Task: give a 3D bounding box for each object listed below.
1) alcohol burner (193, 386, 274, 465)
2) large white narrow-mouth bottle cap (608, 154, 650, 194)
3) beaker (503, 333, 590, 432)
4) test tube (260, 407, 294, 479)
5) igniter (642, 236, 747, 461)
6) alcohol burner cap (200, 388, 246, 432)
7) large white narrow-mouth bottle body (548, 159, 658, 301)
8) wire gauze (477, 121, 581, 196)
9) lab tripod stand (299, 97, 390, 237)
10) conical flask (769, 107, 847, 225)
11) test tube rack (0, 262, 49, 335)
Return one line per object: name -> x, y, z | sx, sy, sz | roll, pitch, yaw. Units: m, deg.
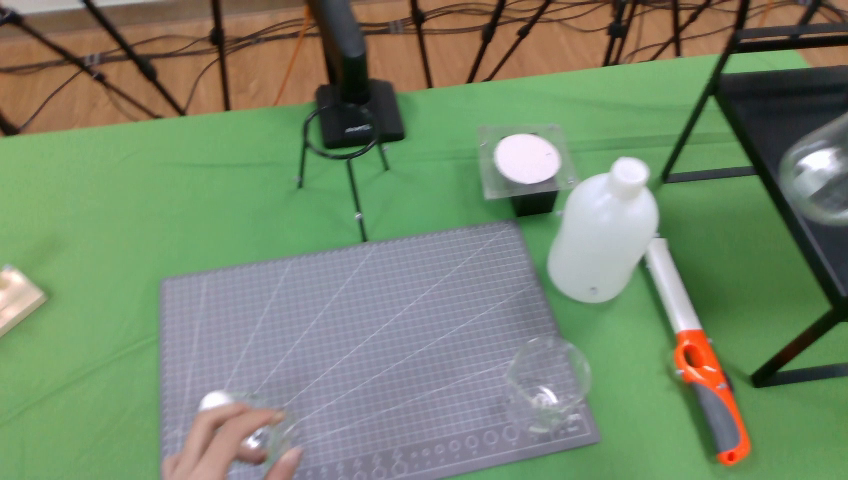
alcohol burner -> -0.186, 0.173, 0.585 | 0.078, 0.120, 0.077 | 2, 55, -3
large white narrow-mouth bottle cap -> 0.205, -0.067, 0.607 | 0.038, 0.024, 0.037 | 1, 56, -1
beaker -> 0.118, 0.150, 0.619 | 0.084, 0.101, 0.073 | -5, 56, -4
test tube -> -0.113, 0.170, 0.449 | 0.017, 0.151, 0.017 | 11, 41, -10
igniter -> 0.305, 0.113, 0.697 | 0.057, 0.025, 0.273 | 1, 56, -14
alcohol burner cap -> -0.186, 0.153, 0.554 | 0.034, 0.048, 0.033 | -2, 57, 3
large white narrow-mouth bottle body -> 0.203, -0.017, 0.678 | 0.102, 0.196, 0.101 | 1, 56, -1
wire gauze -> 0.134, -0.111, 0.790 | 0.121, 0.011, 0.124 | -3, 57, -4
lab tripod stand -> -0.094, -0.097, 0.756 | 0.148, 0.132, 0.147 | 2, 57, -3
conical flask -> 0.285, -0.066, 0.391 | 0.075, 0.123, 0.075 | -2, 66, 6
test tube rack -> -0.540, 0.105, 0.636 | 0.066, 0.086, 0.242 | 33, 62, 18
